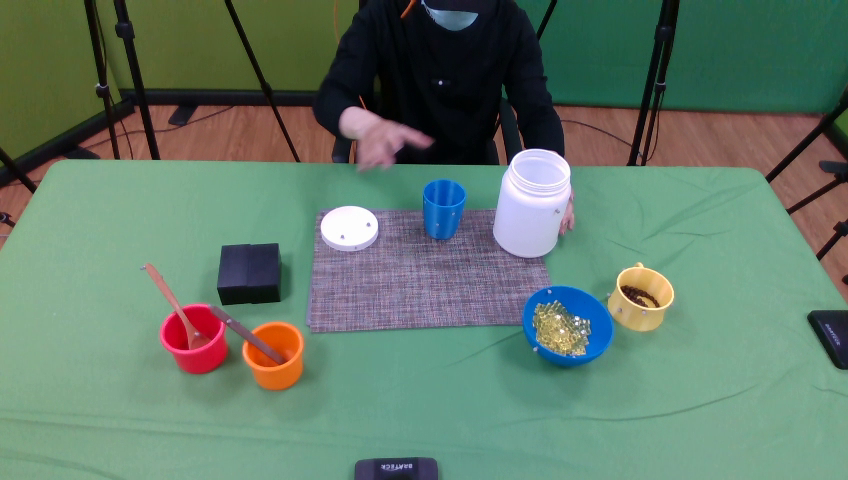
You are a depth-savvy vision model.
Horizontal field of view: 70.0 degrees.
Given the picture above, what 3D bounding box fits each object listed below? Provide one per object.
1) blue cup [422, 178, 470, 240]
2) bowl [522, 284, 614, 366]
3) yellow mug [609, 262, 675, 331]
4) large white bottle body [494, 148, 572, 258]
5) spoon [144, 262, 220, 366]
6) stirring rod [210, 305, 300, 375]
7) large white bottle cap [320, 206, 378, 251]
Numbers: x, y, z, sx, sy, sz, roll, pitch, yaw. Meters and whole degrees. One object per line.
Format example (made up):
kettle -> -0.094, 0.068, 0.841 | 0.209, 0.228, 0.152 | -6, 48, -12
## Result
blue cup -> 0.036, -0.056, 1.192 | 0.093, 0.101, 0.092 | 3, 45, -3
bowl -> 0.235, 0.158, 1.022 | 0.151, 0.077, 0.150 | 2, 46, -2
yellow mug -> 0.393, 0.094, 1.103 | 0.100, 0.064, 0.130 | 7, 45, 3
large white bottle body -> 0.208, -0.071, 1.161 | 0.131, 0.185, 0.130 | 2, 46, -2
spoon -> -0.389, 0.118, 0.971 | 0.041, 0.021, 0.194 | -34, 101, -33
stirring rod -> -0.262, 0.158, 0.946 | 0.177, 0.006, 0.014 | 43, 43, -21
large white bottle cap -> -0.150, -0.024, 1.207 | 0.115, 0.018, 0.114 | 2, 46, -2
